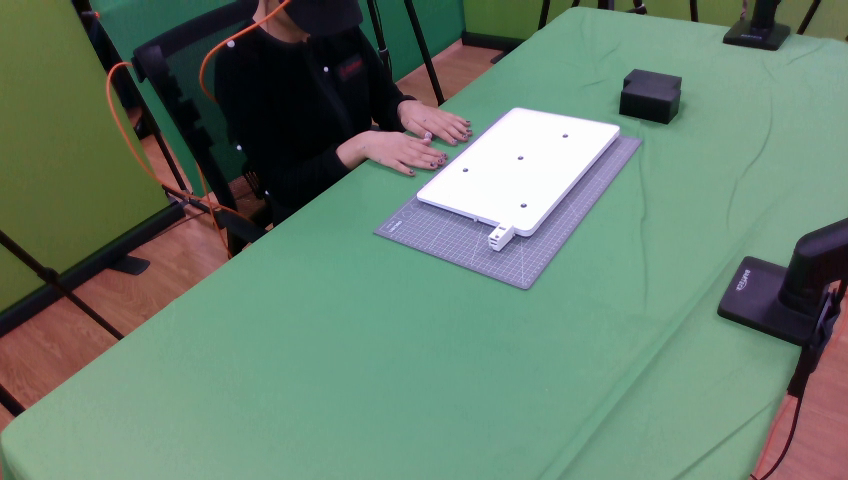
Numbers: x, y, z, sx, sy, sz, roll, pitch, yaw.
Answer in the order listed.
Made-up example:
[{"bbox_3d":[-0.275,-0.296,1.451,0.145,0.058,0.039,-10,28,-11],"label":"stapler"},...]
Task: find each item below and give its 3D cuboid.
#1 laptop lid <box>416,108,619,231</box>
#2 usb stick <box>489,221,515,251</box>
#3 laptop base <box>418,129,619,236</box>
[{"bbox_3d":[0.176,-0.147,1.106,0.239,0.013,0.357,21,48,34],"label":"laptop lid"},{"bbox_3d":[0.127,-0.011,0.954,0.021,0.027,0.059,22,47,34],"label":"usb stick"},{"bbox_3d":[0.180,-0.137,1.112,0.233,0.023,0.355,19,47,33],"label":"laptop base"}]
